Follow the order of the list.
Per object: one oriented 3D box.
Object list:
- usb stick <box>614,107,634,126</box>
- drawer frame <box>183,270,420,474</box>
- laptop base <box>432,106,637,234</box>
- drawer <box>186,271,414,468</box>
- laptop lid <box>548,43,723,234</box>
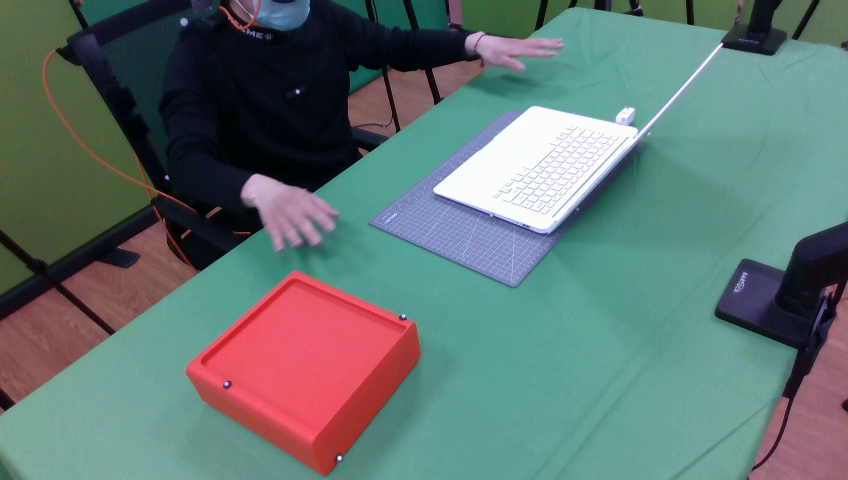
[{"bbox_3d":[0.385,-0.234,1.174,0.021,0.027,0.059,22,47,30],"label":"usb stick"},{"bbox_3d":[-0.149,0.153,0.767,0.212,0.083,0.202,20,46,27],"label":"drawer frame"},{"bbox_3d":[0.210,-0.142,1.111,0.233,0.023,0.355,21,48,33],"label":"laptop base"},{"bbox_3d":[-0.150,0.154,0.768,0.210,0.073,0.195,20,47,27],"label":"drawer"},{"bbox_3d":[0.335,-0.160,0.955,0.013,0.241,0.358,42,54,8],"label":"laptop lid"}]
